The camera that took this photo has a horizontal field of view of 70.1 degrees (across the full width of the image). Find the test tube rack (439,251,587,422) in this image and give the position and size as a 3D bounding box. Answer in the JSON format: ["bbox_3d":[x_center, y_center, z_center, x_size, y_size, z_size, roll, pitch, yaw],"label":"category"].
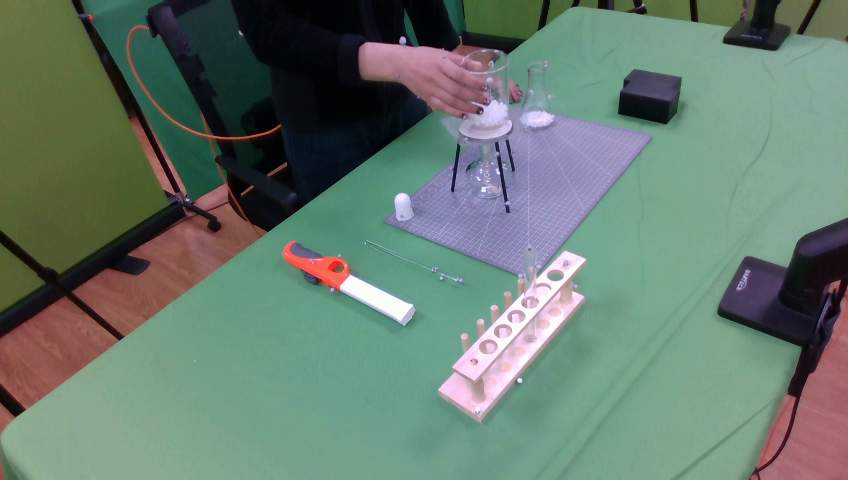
[{"bbox_3d":[0.118,0.111,0.780,0.066,0.085,0.243,26,51,34],"label":"test tube rack"}]

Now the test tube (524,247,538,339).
[{"bbox_3d":[0.133,0.070,0.749,0.017,0.151,0.017,-5,38,4],"label":"test tube"}]

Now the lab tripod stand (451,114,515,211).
[{"bbox_3d":[0.113,-0.140,1.037,0.148,0.132,0.147,-6,38,5],"label":"lab tripod stand"}]

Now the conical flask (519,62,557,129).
[{"bbox_3d":[0.225,-0.288,1.199,0.075,0.122,0.075,-6,40,5],"label":"conical flask"}]

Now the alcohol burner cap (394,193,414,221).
[{"bbox_3d":[-0.036,-0.059,1.040,0.034,0.048,0.033,-5,41,5],"label":"alcohol burner cap"}]

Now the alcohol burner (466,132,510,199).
[{"bbox_3d":[0.110,-0.132,1.044,0.078,0.119,0.077,-6,38,5],"label":"alcohol burner"}]

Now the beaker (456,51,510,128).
[{"bbox_3d":[0.097,-0.236,0.957,0.084,0.101,0.073,-5,43,6],"label":"beaker"}]

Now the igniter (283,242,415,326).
[{"bbox_3d":[-0.126,0.062,0.931,0.274,0.025,0.057,23,61,33],"label":"igniter"}]

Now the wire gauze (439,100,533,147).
[{"bbox_3d":[0.100,-0.190,0.994,0.125,0.011,0.120,-15,39,-7],"label":"wire gauze"}]

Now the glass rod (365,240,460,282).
[{"bbox_3d":[-0.022,0.032,0.961,0.198,0.008,0.008,21,49,35],"label":"glass rod"}]
